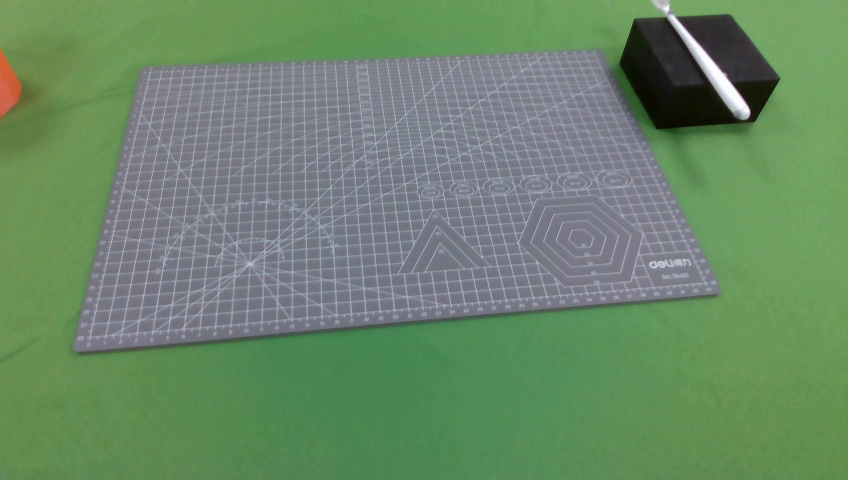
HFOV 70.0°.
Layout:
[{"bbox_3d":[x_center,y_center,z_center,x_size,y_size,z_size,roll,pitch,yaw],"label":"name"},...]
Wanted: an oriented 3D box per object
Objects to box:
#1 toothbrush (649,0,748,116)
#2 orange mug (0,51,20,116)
[{"bbox_3d":[0.241,-0.173,0.538,0.014,0.017,0.180,-5,53,-11],"label":"toothbrush"},{"bbox_3d":[-0.414,-0.146,0.487,0.126,0.101,0.083,-35,62,-31],"label":"orange mug"}]
